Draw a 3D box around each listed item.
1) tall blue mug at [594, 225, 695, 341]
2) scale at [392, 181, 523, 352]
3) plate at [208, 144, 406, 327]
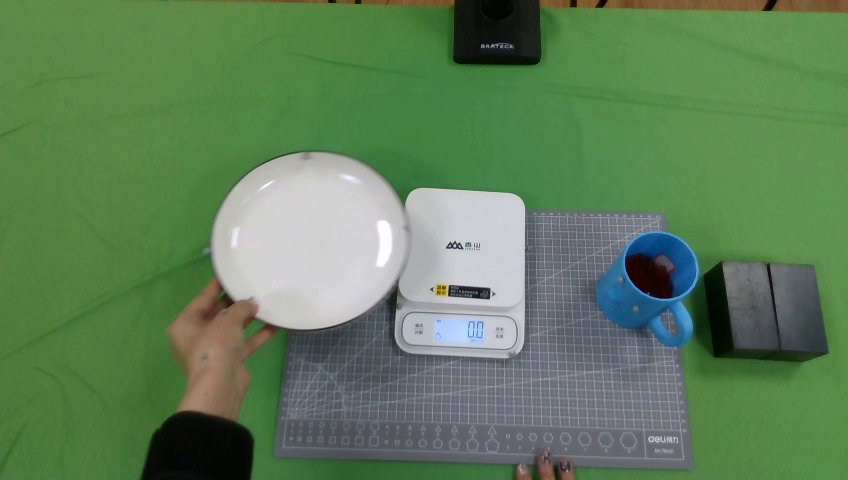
[{"bbox_3d":[0.249,0.048,0.661,0.106,0.108,0.077,37,73,13],"label":"tall blue mug"},{"bbox_3d":[0.042,0.028,0.712,0.148,0.032,0.199,3,70,2],"label":"scale"},{"bbox_3d":[-0.123,-0.005,0.656,0.209,0.038,0.207,1,70,-2],"label":"plate"}]
